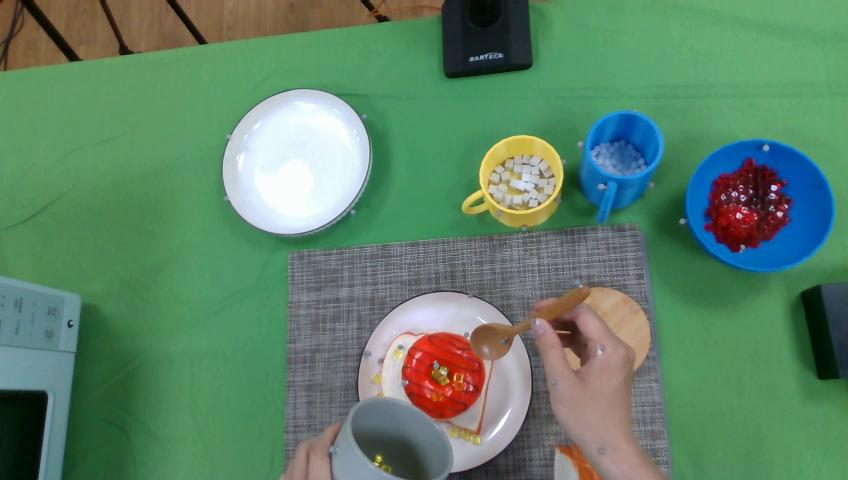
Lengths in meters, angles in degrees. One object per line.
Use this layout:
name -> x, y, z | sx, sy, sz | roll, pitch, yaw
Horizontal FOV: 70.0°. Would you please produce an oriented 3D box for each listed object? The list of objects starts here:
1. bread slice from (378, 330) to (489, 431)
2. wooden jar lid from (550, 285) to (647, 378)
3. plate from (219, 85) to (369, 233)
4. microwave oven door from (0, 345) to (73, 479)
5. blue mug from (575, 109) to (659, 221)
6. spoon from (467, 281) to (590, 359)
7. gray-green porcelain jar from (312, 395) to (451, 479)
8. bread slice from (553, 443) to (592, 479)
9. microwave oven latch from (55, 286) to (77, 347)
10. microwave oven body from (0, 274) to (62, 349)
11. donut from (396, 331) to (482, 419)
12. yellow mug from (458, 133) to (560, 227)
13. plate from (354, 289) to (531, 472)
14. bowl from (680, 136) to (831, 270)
bread slice -> 0.010, 0.162, 0.721 | 0.131, 0.019, 0.104 | 9, 78, 8
wooden jar lid -> 0.203, 0.107, 0.708 | 0.108, 0.021, 0.108 | -2, 77, 9
plate -> -0.172, -0.106, 0.818 | 0.207, 0.039, 0.206 | -2, 76, 9
microwave oven door -> -0.497, 0.290, 0.652 | 0.039, 0.245, 0.354 | -4, 76, 9
blue mug -> 0.218, -0.078, 0.709 | 0.082, 0.106, 0.116 | 16, 80, 13
spoon -> 0.092, 0.077, 0.559 | 0.021, 0.194, 0.041 | -39, 87, -30
gray-green porcelain jar -> -0.048, 0.228, 0.569 | 0.105, 0.106, 0.127 | 33, 112, 16
bread slice -> 0.150, 0.268, 0.622 | 0.018, 0.135, 0.106 | 4, 75, 3
microwave oven latch -> -0.482, 0.102, 0.800 | 0.030, 0.030, 0.079 | -1, 77, 9
microwave oven body -> -0.641, 0.259, 0.689 | 0.325, 0.262, 0.439 | -3, 77, 9
donut -> 0.017, 0.153, 0.690 | 0.099, 0.048, 0.098 | -1, 77, 6
yellow mug -> 0.102, -0.066, 0.746 | 0.131, 0.064, 0.099 | -26, 73, 4
plate -> 0.023, 0.163, 0.716 | 0.209, 0.038, 0.208 | -2, 76, 9
bowl -> 0.362, -0.033, 0.688 | 0.151, 0.077, 0.150 | -2, 76, 10
